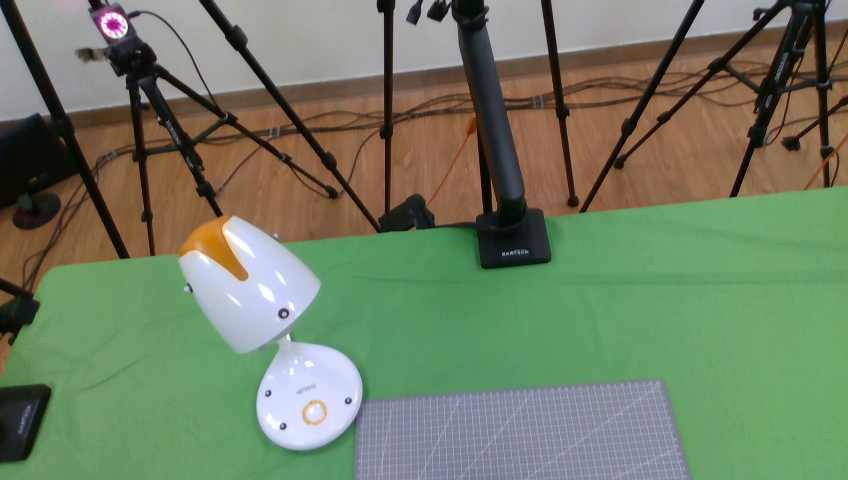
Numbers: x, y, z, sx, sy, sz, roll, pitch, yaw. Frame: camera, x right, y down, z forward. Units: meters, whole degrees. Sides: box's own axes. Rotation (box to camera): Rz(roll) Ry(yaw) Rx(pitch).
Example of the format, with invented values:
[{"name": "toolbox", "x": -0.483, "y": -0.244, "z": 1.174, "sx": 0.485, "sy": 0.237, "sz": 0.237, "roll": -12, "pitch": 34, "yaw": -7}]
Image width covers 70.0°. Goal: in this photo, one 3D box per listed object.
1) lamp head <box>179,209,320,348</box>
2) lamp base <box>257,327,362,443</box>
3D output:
[{"name": "lamp head", "x": -0.185, "y": 0.029, "z": 0.612, "sx": 0.112, "sy": 0.123, "sz": 0.111, "roll": -35, "pitch": 16, "yaw": 12}, {"name": "lamp base", "x": -0.189, "y": 0.173, "z": 0.858, "sx": 0.160, "sy": 0.182, "sz": 0.177, "roll": -30, "pitch": 53, "yaw": -13}]
